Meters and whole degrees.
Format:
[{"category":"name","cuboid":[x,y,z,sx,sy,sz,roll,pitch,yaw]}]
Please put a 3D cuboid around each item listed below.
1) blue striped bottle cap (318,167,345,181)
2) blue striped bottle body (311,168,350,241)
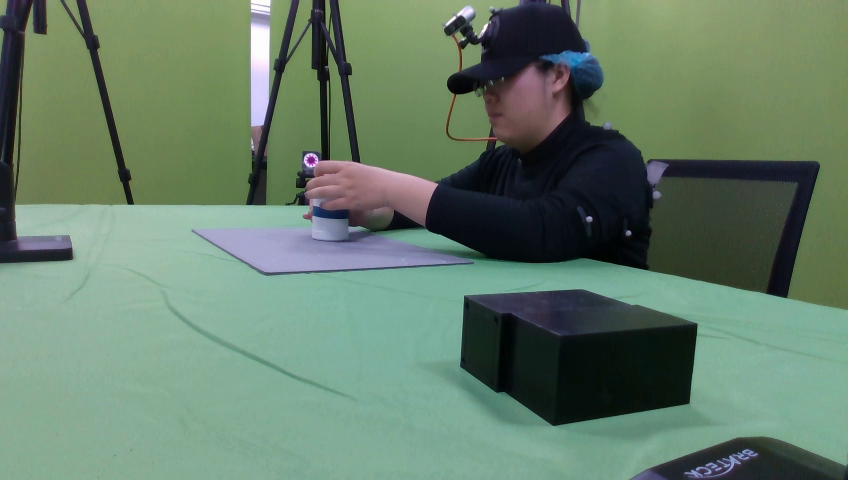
[{"category":"blue striped bottle cap","cuboid":[-0.155,-0.112,1.016,0.044,0.020,0.044,3,12,0]},{"category":"blue striped bottle body","cuboid":[-0.158,-0.061,1.022,0.063,0.120,0.063,3,4,0]}]
